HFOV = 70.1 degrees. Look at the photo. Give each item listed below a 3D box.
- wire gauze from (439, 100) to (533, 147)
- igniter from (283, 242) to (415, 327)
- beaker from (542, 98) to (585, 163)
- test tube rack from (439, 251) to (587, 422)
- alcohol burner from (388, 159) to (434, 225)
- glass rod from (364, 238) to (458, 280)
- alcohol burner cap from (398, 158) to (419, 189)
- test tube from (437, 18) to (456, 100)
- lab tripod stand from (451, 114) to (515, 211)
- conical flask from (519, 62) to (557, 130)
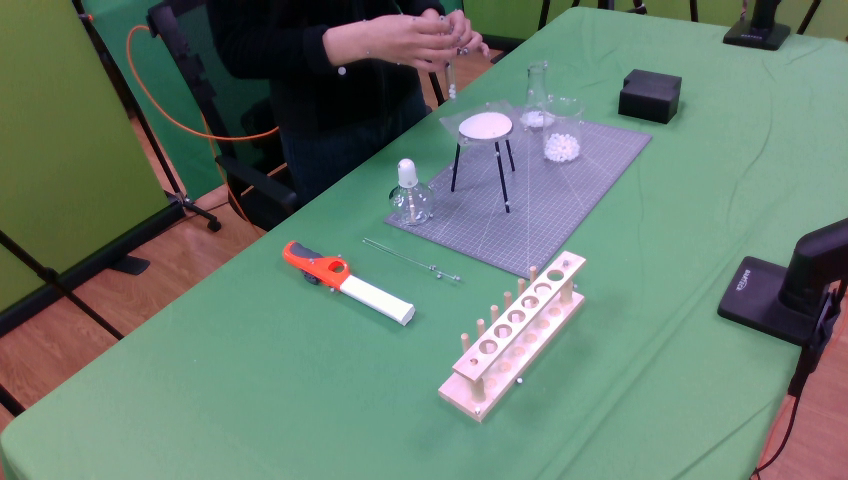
[{"bbox_3d":[0.100,-0.190,0.994,0.125,0.011,0.120,-15,39,-7],"label":"wire gauze"},{"bbox_3d":[-0.126,0.062,0.931,0.274,0.025,0.057,24,61,33],"label":"igniter"},{"bbox_3d":[0.255,-0.200,1.107,0.073,0.101,0.084,9,43,21],"label":"beaker"},{"bbox_3d":[0.118,0.111,0.780,0.066,0.085,0.243,26,51,35],"label":"test tube rack"},{"bbox_3d":[-0.023,-0.085,1.013,0.078,0.119,0.077,-4,38,4],"label":"alcohol burner"},{"bbox_3d":[-0.026,0.029,0.966,0.198,0.008,0.008,21,49,35],"label":"glass rod"},{"bbox_3d":[-0.027,-0.111,0.989,0.034,0.048,0.033,-3,46,4],"label":"alcohol burner cap"},{"bbox_3d":[0.039,-0.305,1.031,0.017,0.151,0.017,-6,44,6],"label":"test tube"},{"bbox_3d":[0.113,-0.140,1.037,0.148,0.132,0.147,-6,38,5],"label":"lab tripod stand"},{"bbox_3d":[0.225,-0.287,1.198,0.075,0.122,0.075,-6,40,5],"label":"conical flask"}]
